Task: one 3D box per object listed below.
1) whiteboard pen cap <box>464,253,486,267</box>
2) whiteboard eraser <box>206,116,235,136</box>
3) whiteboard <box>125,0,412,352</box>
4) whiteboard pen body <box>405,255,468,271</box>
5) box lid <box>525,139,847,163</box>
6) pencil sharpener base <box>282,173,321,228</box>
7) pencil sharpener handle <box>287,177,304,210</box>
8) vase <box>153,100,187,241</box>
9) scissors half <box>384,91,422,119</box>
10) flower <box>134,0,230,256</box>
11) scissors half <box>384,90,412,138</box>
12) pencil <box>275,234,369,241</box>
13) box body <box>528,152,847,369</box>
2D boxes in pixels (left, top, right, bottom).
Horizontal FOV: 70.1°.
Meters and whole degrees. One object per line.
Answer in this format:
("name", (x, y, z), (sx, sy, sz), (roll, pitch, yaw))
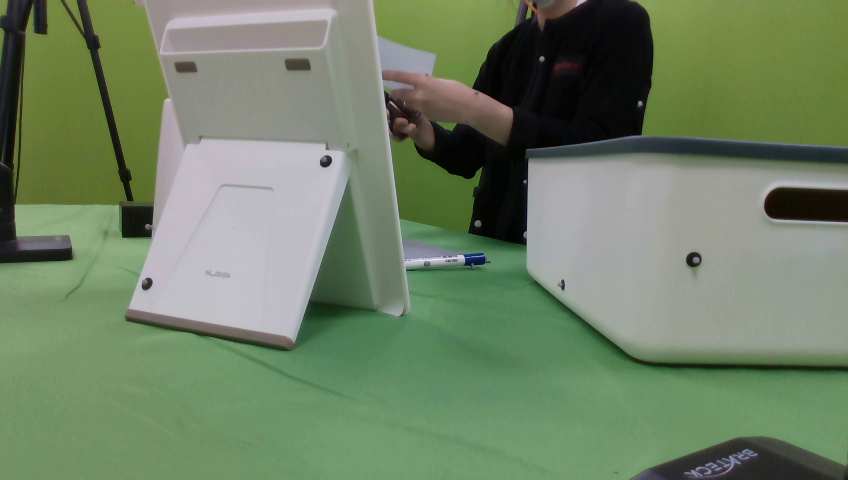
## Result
("whiteboard pen cap", (0.066, 0.027, 0.818), (0.033, 0.018, 0.018), (-6, 10, -24))
("whiteboard eraser", (-0.450, -0.252, 1.335), (0.056, 0.042, 0.112), (1, 7, -22))
("whiteboard", (-0.151, -0.049, 0.471), (0.216, 0.305, 0.144), (6, 27, 24))
("whiteboard pen body", (0.013, 0.030, 0.792), (0.141, 0.017, 0.017), (-3, 9, -24))
("box lid", (0.261, -0.078, 0.580), (0.264, 0.015, 0.371), (2, 7, -4))
("pencil sharpener base", (-0.247, -0.080, 1.212), (0.061, 0.107, 0.076), (-2, 5, -28))
("pencil sharpener handle", (-0.269, -0.096, 1.257), (0.036, 0.067, 0.030), (-8, 8, -27))
("vase", (-0.278, -0.066, 0.736), (0.098, 0.200, 0.098), (2, 9, 0))
("scissors half", (-0.058, -0.255, 1.056), (0.013, 0.040, 0.176), (21, 4, 37))
("flower", (-0.282, -0.147, 0.713), (0.038, 0.362, 0.044), (-23, 24, -31))
("scissors half", (-0.068, -0.236, 1.054), (0.012, 0.040, 0.176), (27, -15, 38))
("pencil", (-0.169, -0.006, 1.036), (0.195, 0.012, 0.012), (-2, 8, -45))
("box body", (0.258, -0.005, 0.591), (0.254, 0.160, 0.363), (2, 7, -4))
